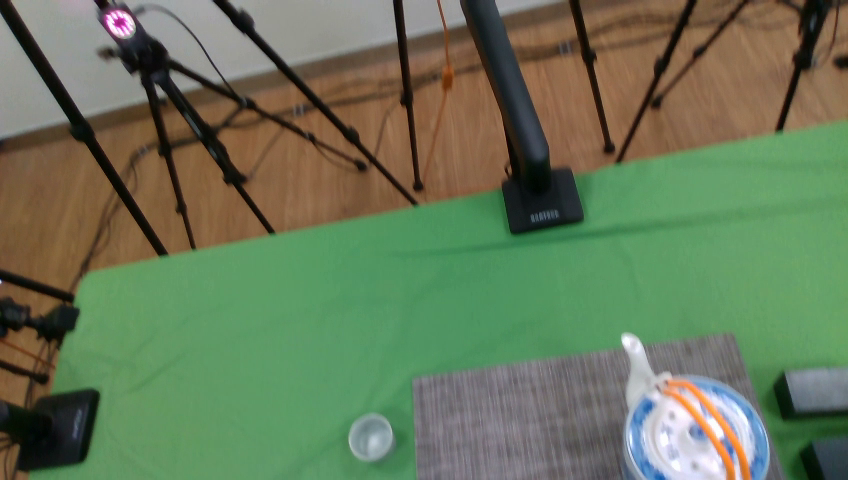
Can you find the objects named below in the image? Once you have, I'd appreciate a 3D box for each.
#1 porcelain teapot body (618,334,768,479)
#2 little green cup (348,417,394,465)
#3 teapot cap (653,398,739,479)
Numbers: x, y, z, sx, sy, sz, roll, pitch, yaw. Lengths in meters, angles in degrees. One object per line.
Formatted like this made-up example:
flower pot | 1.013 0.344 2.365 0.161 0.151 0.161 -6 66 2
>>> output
porcelain teapot body | 0.277 0.204 0.677 0.145 0.227 0.203 -30 56 -4
little green cup | -0.071 0.281 0.841 0.061 0.039 0.061 -7 57 11
teapot cap | 0.282 0.204 0.629 0.085 0.044 0.084 -6 55 9
